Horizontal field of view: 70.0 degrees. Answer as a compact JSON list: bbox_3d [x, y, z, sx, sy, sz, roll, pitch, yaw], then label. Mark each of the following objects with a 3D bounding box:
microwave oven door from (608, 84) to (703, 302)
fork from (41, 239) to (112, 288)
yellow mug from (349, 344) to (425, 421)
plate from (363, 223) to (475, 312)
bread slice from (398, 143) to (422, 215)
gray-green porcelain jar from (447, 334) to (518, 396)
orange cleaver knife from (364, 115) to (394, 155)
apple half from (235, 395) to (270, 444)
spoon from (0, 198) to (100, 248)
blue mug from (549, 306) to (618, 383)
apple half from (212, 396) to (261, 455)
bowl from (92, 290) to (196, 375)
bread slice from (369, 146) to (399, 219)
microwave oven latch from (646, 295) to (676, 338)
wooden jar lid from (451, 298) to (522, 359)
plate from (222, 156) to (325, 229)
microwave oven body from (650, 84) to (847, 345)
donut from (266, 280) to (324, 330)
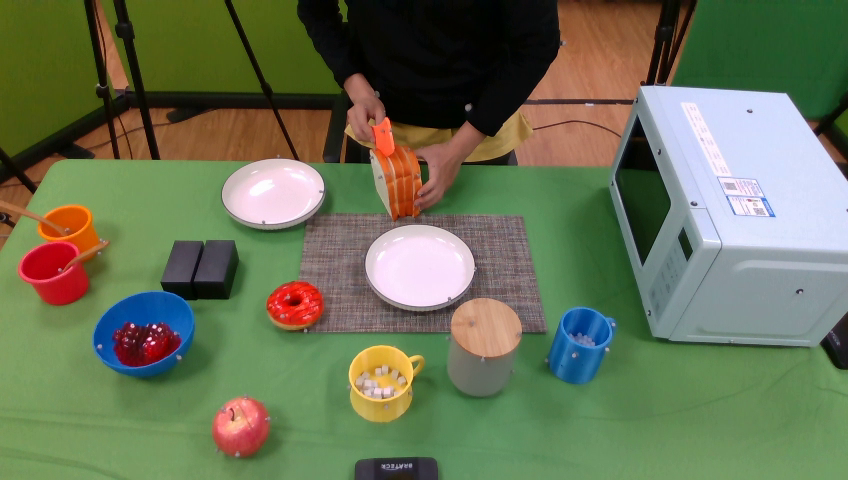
[{"bbox_3d":[0.424,-0.096,1.138,0.039,0.245,0.353,3,46,-1],"label":"microwave oven door"},{"bbox_3d":[-0.591,0.040,1.028,0.207,0.019,0.028,-27,37,29],"label":"fork"},{"bbox_3d":[-0.054,0.217,0.954,0.131,0.064,0.099,-24,52,-25],"label":"yellow mug"},{"bbox_3d":[-0.009,0.054,1.126,0.208,0.039,0.206,2,46,-2],"label":"plate"},{"bbox_3d":[-0.028,-0.130,1.240,0.019,0.132,0.104,-13,48,-16],"label":"bread slice"},{"bbox_3d":[0.091,0.178,0.960,0.106,0.127,0.105,2,46,-2],"label":"gray-green porcelain jar"},{"bbox_3d":[-0.092,-0.207,1.217,0.012,0.077,0.210,-7,11,-17],"label":"orange cleaver knife"},{"bbox_3d":[-0.245,0.260,0.893,0.033,0.082,0.081,-29,55,-22],"label":"apple half"},{"bbox_3d":[-0.684,-0.035,1.092,0.021,0.195,0.041,-34,41,26],"label":"spoon"},{"bbox_3d":[0.269,0.167,0.997,0.116,0.106,0.082,-19,50,-21],"label":"blue mug"},{"bbox_3d":[-0.276,0.276,0.877,0.053,0.075,0.080,-29,58,-21],"label":"apple half"},{"bbox_3d":[-0.436,0.161,0.971,0.151,0.077,0.150,2,46,-2],"label":"bowl"},{"bbox_3d":[-0.082,-0.124,1.229,0.018,0.135,0.106,-21,46,-13],"label":"bread slice"},{"bbox_3d":[0.413,0.133,1.061,0.030,0.029,0.078,4,46,1],"label":"microwave oven latch"},{"bbox_3d":[0.093,0.135,0.914,0.108,0.021,0.107,2,48,-3],"label":"wooden jar lid"},{"bbox_3d":[-0.308,-0.095,1.251,0.209,0.038,0.208,2,46,-2],"label":"plate"},{"bbox_3d":[0.569,-0.054,1.116,0.326,0.261,0.439,2,46,-1],"label":"microwave oven body"},{"bbox_3d":[-0.223,0.112,1.051,0.099,0.048,0.098,2,46,-2],"label":"donut"}]
